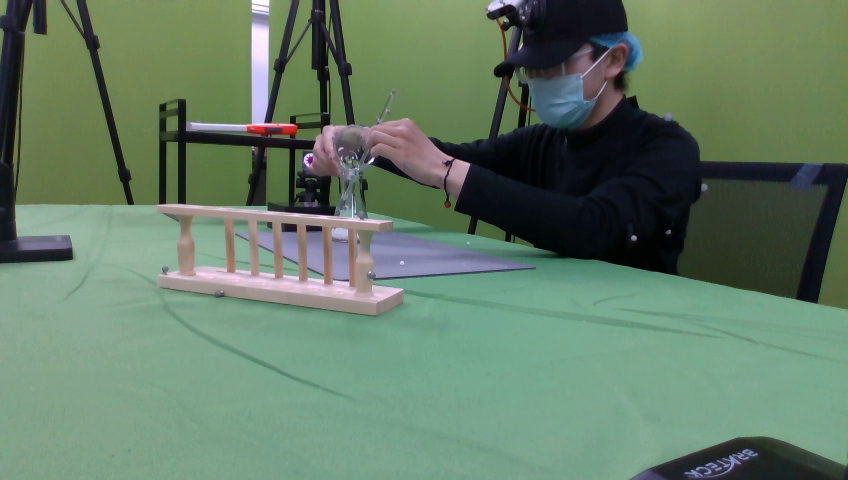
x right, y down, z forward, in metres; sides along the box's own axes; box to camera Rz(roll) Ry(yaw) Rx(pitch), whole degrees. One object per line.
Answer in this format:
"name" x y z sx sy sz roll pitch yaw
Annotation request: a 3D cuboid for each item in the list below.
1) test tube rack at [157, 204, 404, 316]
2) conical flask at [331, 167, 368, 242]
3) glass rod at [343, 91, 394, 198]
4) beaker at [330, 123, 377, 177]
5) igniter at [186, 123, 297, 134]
"test tube rack" -0.143 0.013 0.599 0.242 0.085 0.067 5 8 19
"conical flask" -0.123 -0.061 1.019 0.075 0.122 0.075 3 8 0
"glass rod" -0.092 -0.153 0.994 0.008 0.199 0.008 24 22 -10
"beaker" -0.127 -0.152 1.062 0.074 0.084 0.100 12 -8 -12
"igniter" -0.393 -0.248 1.341 0.057 0.025 0.278 9 14 38
